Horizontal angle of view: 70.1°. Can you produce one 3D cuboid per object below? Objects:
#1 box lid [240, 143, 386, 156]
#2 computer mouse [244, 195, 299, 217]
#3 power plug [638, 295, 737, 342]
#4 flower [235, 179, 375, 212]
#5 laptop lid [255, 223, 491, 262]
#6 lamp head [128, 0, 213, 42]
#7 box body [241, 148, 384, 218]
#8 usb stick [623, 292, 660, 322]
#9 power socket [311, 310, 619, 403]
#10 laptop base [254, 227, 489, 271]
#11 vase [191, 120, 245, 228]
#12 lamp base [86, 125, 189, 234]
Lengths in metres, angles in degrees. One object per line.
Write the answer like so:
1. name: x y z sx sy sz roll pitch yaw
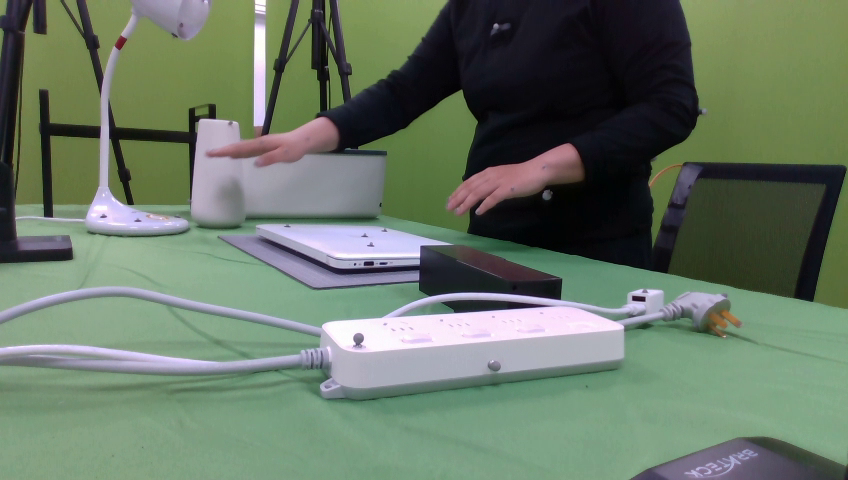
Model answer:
1. box lid: -0.304 -0.217 1.463 0.373 0.015 0.262 -2 8 -30
2. computer mouse: -0.346 -0.077 1.372 0.118 0.041 0.062 -11 18 -33
3. power plug: 0.235 0.078 0.536 0.072 0.035 0.052 -34 40 -4
4. flower: -0.264 -0.092 1.417 0.364 0.038 0.044 8 -42 -39
5. laptop lid: -0.093 0.000 0.911 0.243 0.013 0.355 1 7 -30
6. lamp head: -0.423 -0.394 0.980 0.123 0.112 0.112 20 7 -3
7. box body: -0.307 -0.144 1.474 0.366 0.160 0.253 -1 9 -30
8. usb stick: 0.211 0.064 0.580 0.021 0.027 0.059 1 -3 37
9. power socket: 0.034 0.074 0.415 0.228 0.032 0.072 -1 7 -24
10. laptop base: -0.096 0.012 0.911 0.237 0.023 0.352 2 7 -32
11. vase: -0.389 -0.124 1.142 0.098 0.200 0.098 3 9 0
12. lamp base: -0.497 -0.105 1.027 0.179 0.180 0.160 1 7 3
